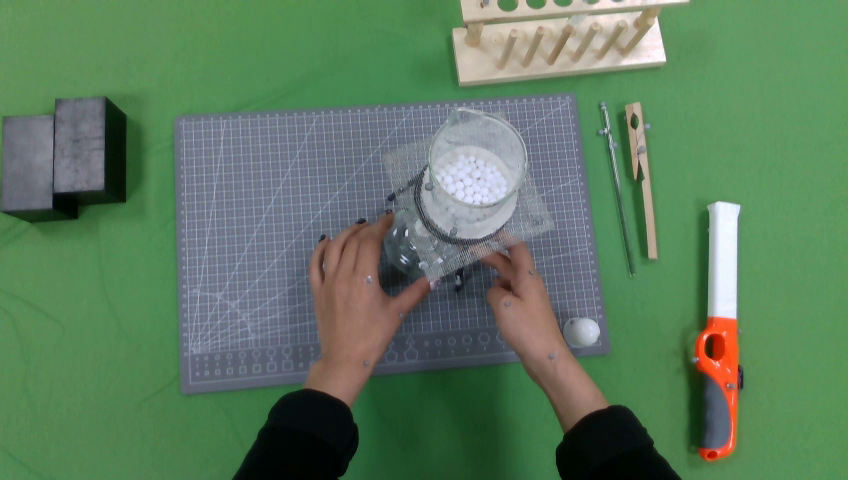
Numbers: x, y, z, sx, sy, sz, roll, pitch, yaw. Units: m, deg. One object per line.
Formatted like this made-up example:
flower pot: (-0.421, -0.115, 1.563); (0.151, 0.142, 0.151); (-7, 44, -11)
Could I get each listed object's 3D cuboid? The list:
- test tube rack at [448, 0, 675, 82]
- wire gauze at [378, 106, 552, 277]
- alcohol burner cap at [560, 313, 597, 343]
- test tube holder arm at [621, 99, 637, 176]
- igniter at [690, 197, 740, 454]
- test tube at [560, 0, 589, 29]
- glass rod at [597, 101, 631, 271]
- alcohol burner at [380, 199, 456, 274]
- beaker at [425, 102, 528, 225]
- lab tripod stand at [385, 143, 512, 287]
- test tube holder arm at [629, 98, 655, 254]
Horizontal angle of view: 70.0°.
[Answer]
test tube rack: (0.154, -0.236, 0.669); (0.242, 0.085, 0.066); (-7, 80, -5)
wire gauze: (0.035, -0.046, 0.536); (0.121, 0.011, 0.124); (-21, 84, -3)
alcohol burner cap: (0.164, 0.091, 0.635); (0.034, 0.048, 0.033); (1, 80, -3)
test tube holder arm: (0.235, -0.116, 0.689); (0.010, 0.015, 0.087); (-10, 81, 28)
igniter: (0.316, 0.089, 0.655); (0.057, 0.025, 0.275); (8, 80, -12)
test tube: (0.174, -0.262, 0.625); (0.017, 0.150, 0.017); (2, 79, -9)
glass rod: (0.213, -0.063, 0.683); (0.008, 0.008, 0.199); (-6, 81, -5)
alcohol burner: (-0.005, -0.007, 0.604); (0.078, 0.119, 0.077); (1, 78, -3)
beaker: (0.035, -0.056, 0.489); (0.074, 0.100, 0.083); (-20, 81, -4)
lab tripod stand: (0.027, -0.032, 0.600); (0.148, 0.132, 0.148); (0, 81, -2)
test tube holder arm: (0.244, -0.073, 0.680); (0.013, 0.015, 0.178); (-10, 81, 28)
